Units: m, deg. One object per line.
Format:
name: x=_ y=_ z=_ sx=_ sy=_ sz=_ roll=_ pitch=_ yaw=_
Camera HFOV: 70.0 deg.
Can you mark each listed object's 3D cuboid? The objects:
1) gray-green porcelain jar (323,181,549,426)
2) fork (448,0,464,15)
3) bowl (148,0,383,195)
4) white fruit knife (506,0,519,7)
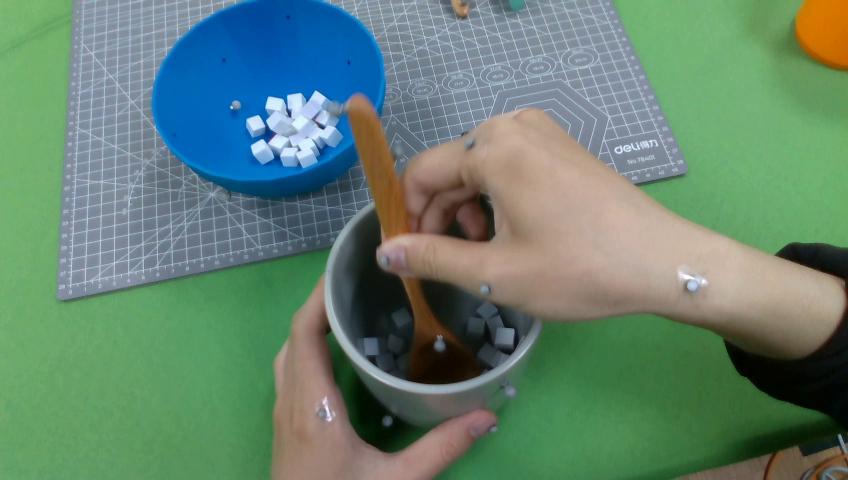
gray-green porcelain jar: x=0.008 y=0.044 z=0.334 sx=0.106 sy=0.127 sz=0.105 roll=-1 pitch=65 yaw=2
fork: x=0.003 y=-0.287 z=0.507 sx=0.028 sy=0.018 sz=0.206 roll=-14 pitch=84 yaw=-10
bowl: x=-0.099 y=-0.087 z=0.421 sx=0.151 sy=0.077 sz=0.150 roll=-1 pitch=65 yaw=2
white fruit knife: x=0.051 y=-0.295 z=0.511 sx=0.016 sy=0.027 sz=0.206 roll=-12 pitch=79 yaw=-5
